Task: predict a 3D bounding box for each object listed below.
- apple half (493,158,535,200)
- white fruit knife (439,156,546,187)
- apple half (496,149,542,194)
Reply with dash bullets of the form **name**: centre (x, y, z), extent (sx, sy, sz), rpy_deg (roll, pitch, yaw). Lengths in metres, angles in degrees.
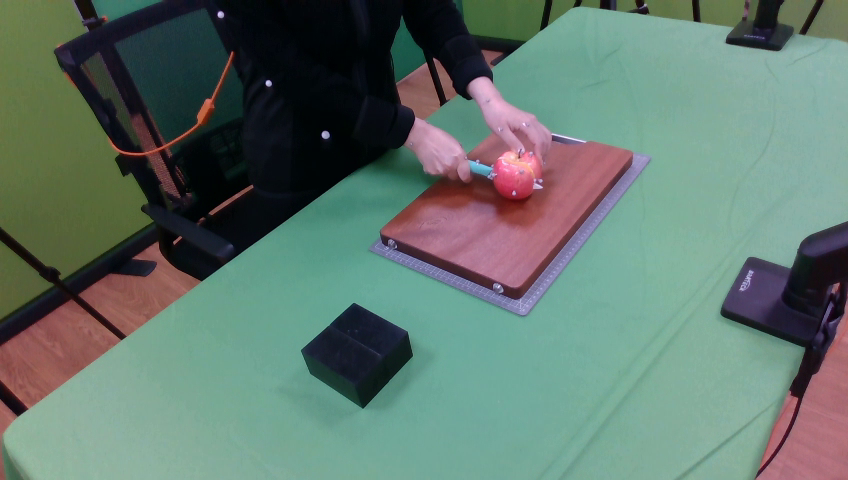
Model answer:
- **apple half**: centre (0.140, -0.091, 0.985), extent (0.080, 0.081, 0.033), rpy_deg (20, 50, 30)
- **white fruit knife**: centre (0.111, -0.115, 1.017), extent (0.206, 0.027, 0.016), rpy_deg (17, 53, 30)
- **apple half**: centre (0.163, -0.116, 1.008), extent (0.080, 0.075, 0.053), rpy_deg (17, 42, 31)
